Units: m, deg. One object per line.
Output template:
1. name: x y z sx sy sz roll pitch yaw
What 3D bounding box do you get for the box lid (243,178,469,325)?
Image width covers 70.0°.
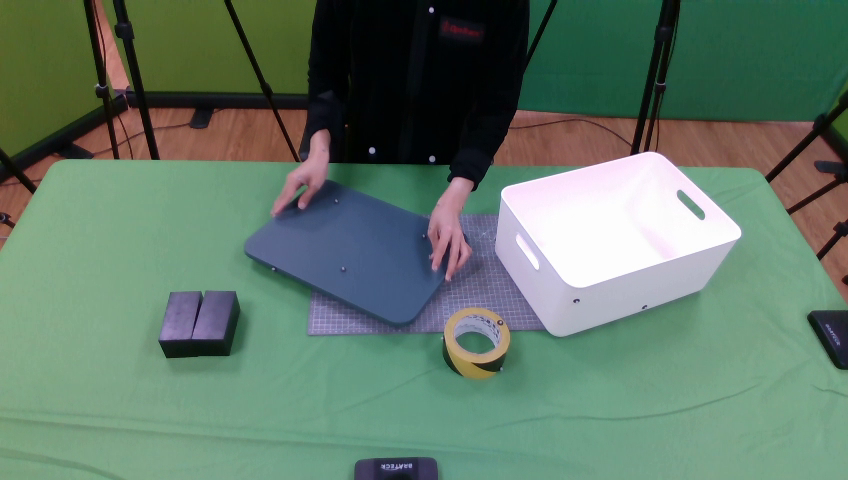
1. box lid: -0.128 0.006 1.148 0.370 0.015 0.262 22 47 19

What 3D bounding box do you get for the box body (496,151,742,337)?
1. box body: 0.340 0.003 1.118 0.364 0.161 0.252 -15 49 -18

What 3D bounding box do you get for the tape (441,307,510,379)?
1. tape: 0.087 0.172 1.014 0.117 0.053 0.116 2 48 -2
